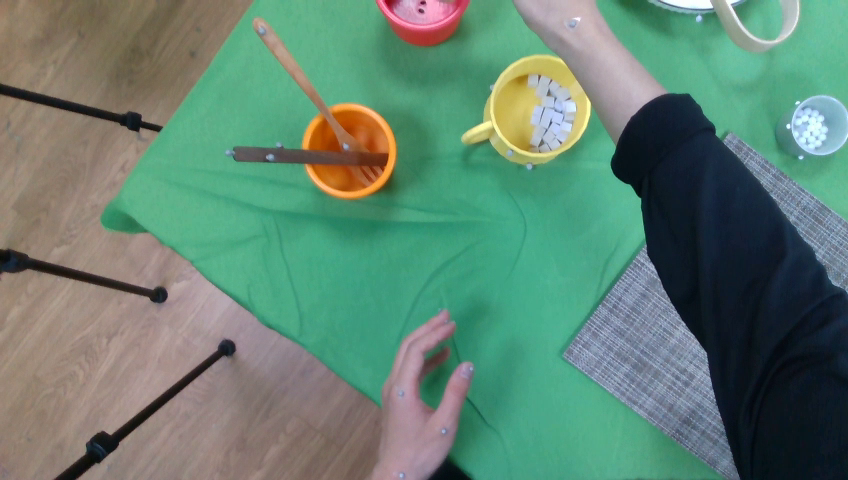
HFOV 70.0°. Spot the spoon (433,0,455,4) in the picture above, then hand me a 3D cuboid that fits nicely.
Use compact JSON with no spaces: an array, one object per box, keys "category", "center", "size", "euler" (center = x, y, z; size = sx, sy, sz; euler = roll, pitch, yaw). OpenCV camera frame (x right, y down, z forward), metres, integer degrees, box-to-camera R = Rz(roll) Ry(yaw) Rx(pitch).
[{"category":"spoon","center":[0.041,-0.255,0.494],"size":[0.042,0.193,0.021],"euler":[9,77,-14]}]

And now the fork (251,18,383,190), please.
[{"category":"fork","center":[-0.098,-0.123,0.582],"size":[0.028,0.018,0.210],"euler":[-37,134,-1]}]

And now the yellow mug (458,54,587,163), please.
[{"category":"yellow mug","center":[0.097,-0.127,0.624],"size":[0.131,0.064,0.100],"euler":[-21,92,1]}]

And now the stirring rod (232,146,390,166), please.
[{"category":"stirring rod","center":[-0.103,-0.081,0.589],"size":[0.177,0.006,0.014],"euler":[-5,93,-42]}]

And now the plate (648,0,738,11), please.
[{"category":"plate","center":[0.281,-0.341,0.634],"size":[0.208,0.039,0.207],"euler":[0,92,0]}]

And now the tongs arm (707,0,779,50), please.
[{"category":"tongs arm","center":[0.243,-0.360,0.601],"size":[0.051,0.026,0.384],"euler":[-25,89,-2]}]

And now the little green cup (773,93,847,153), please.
[{"category":"little green cup","center":[0.403,-0.120,0.638],"size":[0.061,0.038,0.061],"euler":[0,91,1]}]

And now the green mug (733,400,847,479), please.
[{"category":"green mug","center":[0.390,0.206,0.610],"size":[0.125,0.105,0.092],"euler":[-37,90,1]}]

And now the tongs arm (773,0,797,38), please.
[{"category":"tongs arm","center":[0.322,-0.388,0.602],"size":[0.028,0.028,0.387],"euler":[-11,89,-5]}]
